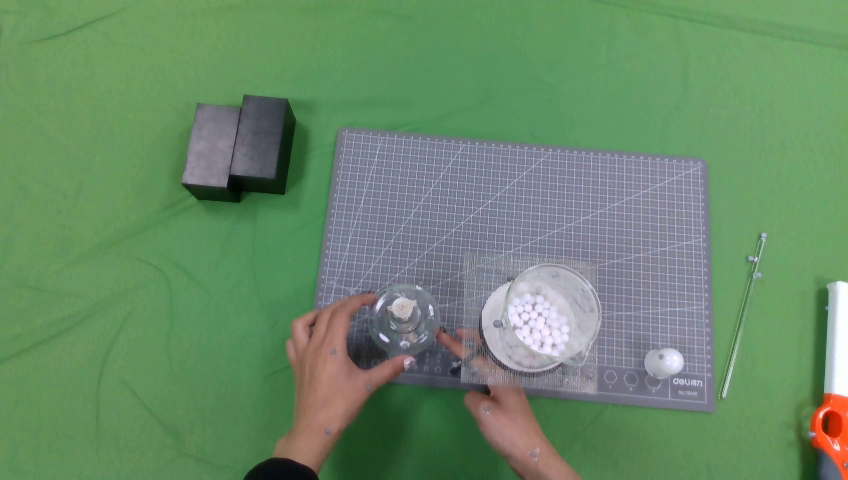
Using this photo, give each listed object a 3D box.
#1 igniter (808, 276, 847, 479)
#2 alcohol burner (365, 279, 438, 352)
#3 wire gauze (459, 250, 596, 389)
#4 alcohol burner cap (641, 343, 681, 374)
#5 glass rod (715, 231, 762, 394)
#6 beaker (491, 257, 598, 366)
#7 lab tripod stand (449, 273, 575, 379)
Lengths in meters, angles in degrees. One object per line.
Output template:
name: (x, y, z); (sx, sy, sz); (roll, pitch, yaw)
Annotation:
igniter: (0.444, 0.173, 0.656); (0.057, 0.025, 0.275); (16, 75, -8)
alcohol burner: (-0.023, 0.075, 0.625); (0.078, 0.120, 0.077); (0, 72, -1)
wire gauze: (0.093, 0.070, 0.551); (0.125, 0.011, 0.121); (4, 73, 2)
alcohol burner cap: (0.258, 0.127, 0.654); (0.034, 0.048, 0.033); (0, 74, 1)
glass rod: (0.359, 0.079, 0.690); (0.008, 0.008, 0.199); (21, 76, 5)
beaker: (0.096, 0.067, 0.501); (0.074, 0.101, 0.083); (-26, 75, -8)
lab tripod stand: (0.092, 0.090, 0.613); (0.148, 0.132, 0.147); (0, 73, 1)
